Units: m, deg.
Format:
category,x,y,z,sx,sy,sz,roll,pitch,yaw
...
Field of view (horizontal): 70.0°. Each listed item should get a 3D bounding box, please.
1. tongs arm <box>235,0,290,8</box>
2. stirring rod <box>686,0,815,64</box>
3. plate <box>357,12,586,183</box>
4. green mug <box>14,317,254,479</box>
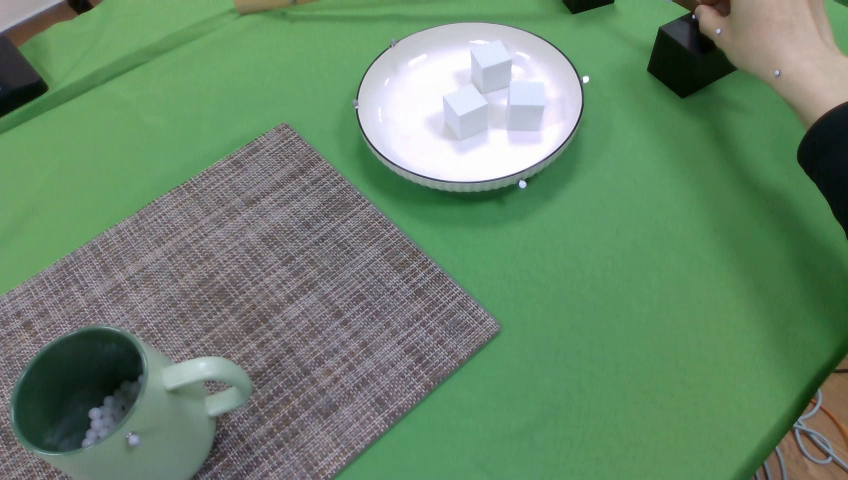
category,x,y,z,sx,sy,sz,roll,pitch,yaw
tongs arm,-0.024,-0.296,0.648,0.387,0.028,0.028,-7,51,10
stirring rod,0.272,-0.207,0.549,0.006,0.014,0.174,-34,60,-20
plate,0.043,-0.132,0.567,0.207,0.039,0.205,-2,58,3
green mug,-0.174,0.102,0.390,0.125,0.106,0.091,-17,57,-7
